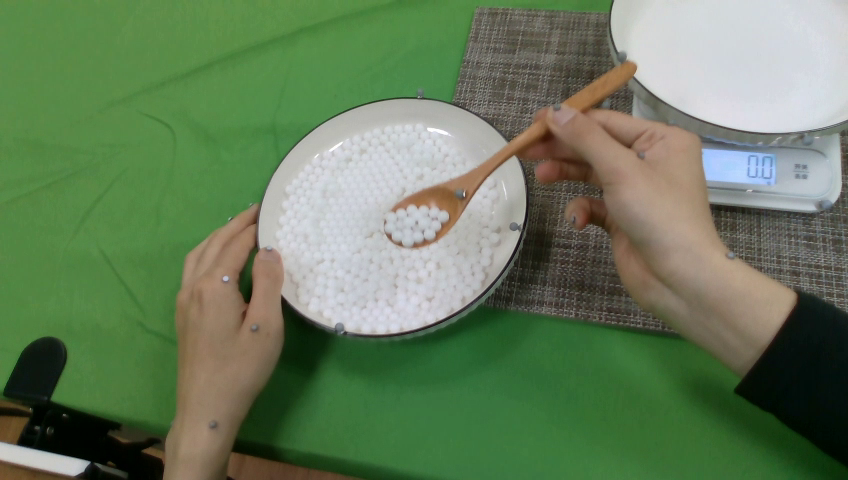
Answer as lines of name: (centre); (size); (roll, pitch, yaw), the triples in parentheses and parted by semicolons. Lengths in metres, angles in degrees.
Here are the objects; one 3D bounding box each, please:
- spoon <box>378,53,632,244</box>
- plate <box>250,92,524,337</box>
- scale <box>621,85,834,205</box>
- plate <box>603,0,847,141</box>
spoon: (0.052, -0.060, 0.392); (0.194, 0.022, 0.041); (-36, 64, 10)
plate: (-0.028, -0.022, 0.465); (0.209, 0.038, 0.207); (-4, 63, 7)
scale: (0.238, -0.123, 0.480); (0.148, 0.032, 0.199); (6, 65, 12)
plate: (0.241, -0.156, 0.460); (0.207, 0.039, 0.206); (-3, 63, 6)
